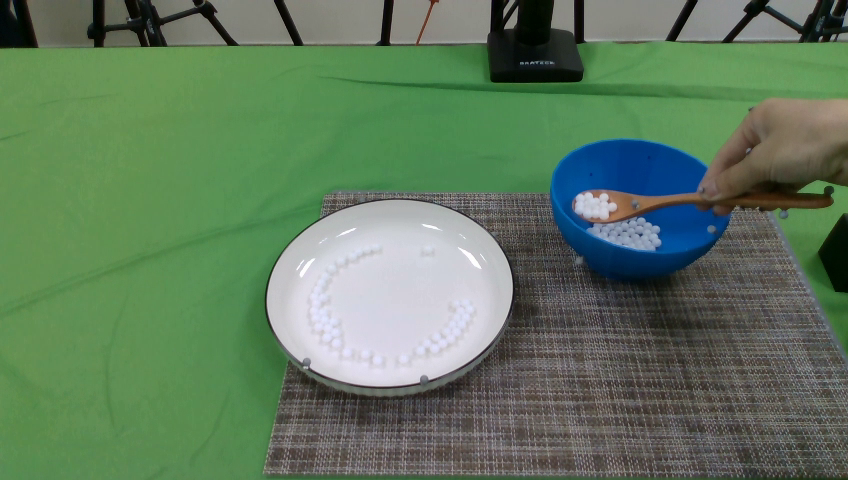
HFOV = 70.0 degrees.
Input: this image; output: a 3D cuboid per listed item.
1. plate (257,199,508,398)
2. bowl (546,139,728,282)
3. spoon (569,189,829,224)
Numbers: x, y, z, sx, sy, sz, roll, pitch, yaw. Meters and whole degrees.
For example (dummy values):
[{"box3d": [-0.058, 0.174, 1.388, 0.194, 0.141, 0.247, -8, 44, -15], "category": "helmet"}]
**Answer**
[{"box3d": [-0.033, 0.047, 0.518, 0.208, 0.039, 0.205, 0, 46, 1], "category": "plate"}, {"box3d": [0.181, -0.016, 0.545, 0.151, 0.077, 0.150, -1, 45, 1], "category": "bowl"}, {"box3d": [0.204, -0.029, 0.478, 0.192, 0.022, 0.041, 0, 43, 44], "category": "spoon"}]
